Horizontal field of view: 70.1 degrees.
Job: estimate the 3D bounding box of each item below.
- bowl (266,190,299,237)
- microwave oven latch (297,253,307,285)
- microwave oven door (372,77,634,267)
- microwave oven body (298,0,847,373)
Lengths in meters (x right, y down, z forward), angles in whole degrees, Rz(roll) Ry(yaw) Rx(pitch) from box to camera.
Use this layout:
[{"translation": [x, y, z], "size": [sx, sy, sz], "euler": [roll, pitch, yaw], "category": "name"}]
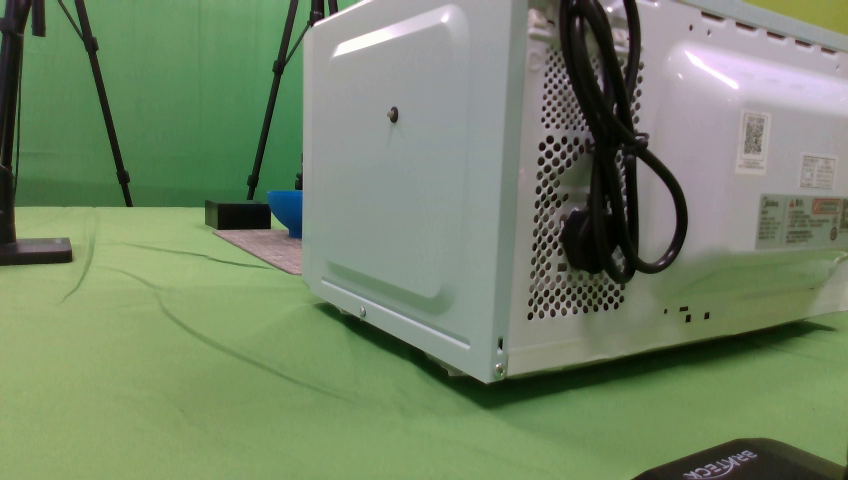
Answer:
[{"translation": [-0.202, -0.046, 1.069], "size": [0.151, 0.077, 0.151], "euler": [3, 7, 0], "category": "bowl"}, {"translation": [-0.082, 0.027, 0.583], "size": [0.079, 0.029, 0.030], "euler": [-1, 7, -33], "category": "microwave oven latch"}, {"translation": [0.096, -0.099, 0.837], "size": [0.355, 0.243, 0.039], "euler": [5, 8, 20], "category": "microwave oven door"}, {"translation": [0.151, -0.055, 0.543], "size": [0.444, 0.260, 0.324], "euler": [-1, 7, -33], "category": "microwave oven body"}]
